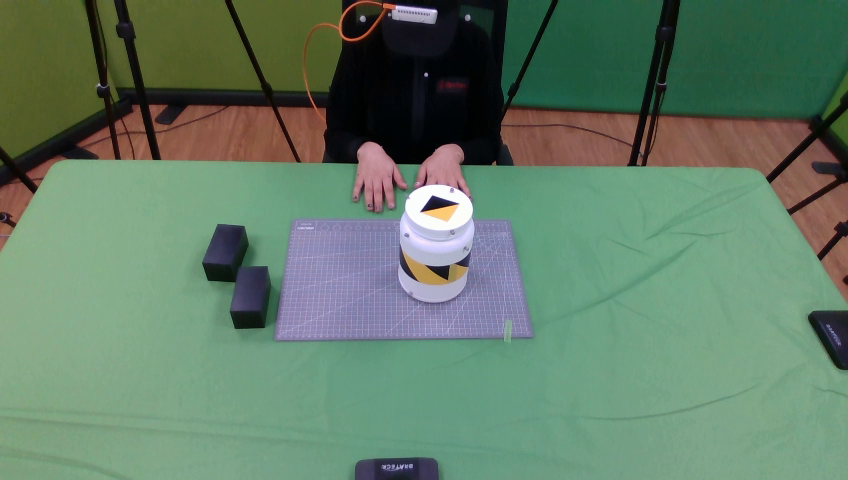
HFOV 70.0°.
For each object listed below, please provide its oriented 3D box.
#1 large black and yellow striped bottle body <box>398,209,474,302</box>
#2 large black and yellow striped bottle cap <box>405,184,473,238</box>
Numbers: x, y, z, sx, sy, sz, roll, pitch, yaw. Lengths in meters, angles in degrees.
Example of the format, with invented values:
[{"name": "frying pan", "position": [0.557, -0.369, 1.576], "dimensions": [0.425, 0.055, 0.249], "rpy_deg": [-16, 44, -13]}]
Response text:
[{"name": "large black and yellow striped bottle body", "position": [0.020, 0.008, 1.074], "dimensions": [0.131, 0.185, 0.130], "rpy_deg": [2, 46, -2]}, {"name": "large black and yellow striped bottle cap", "position": [0.025, -0.051, 1.014], "dimensions": [0.115, 0.019, 0.114], "rpy_deg": [2, 48, -2]}]
